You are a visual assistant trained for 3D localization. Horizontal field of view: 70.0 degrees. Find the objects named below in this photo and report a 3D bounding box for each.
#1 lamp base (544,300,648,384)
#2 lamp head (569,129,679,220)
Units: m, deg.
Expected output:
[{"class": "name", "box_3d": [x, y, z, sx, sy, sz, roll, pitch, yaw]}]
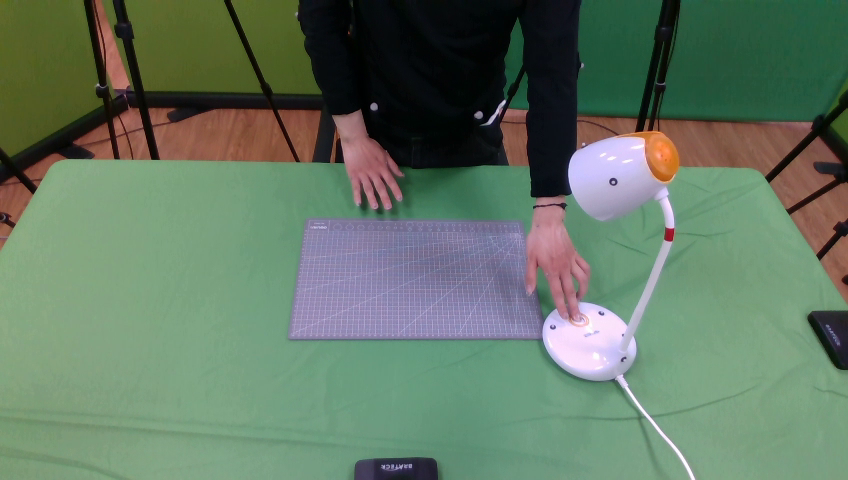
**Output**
[{"class": "lamp base", "box_3d": [0.299, 0.124, 0.984, 0.161, 0.181, 0.178, -23, 55, -23]}, {"class": "lamp head", "box_3d": [0.273, -0.090, 0.799, 0.113, 0.122, 0.112, 7, 77, -33]}]
